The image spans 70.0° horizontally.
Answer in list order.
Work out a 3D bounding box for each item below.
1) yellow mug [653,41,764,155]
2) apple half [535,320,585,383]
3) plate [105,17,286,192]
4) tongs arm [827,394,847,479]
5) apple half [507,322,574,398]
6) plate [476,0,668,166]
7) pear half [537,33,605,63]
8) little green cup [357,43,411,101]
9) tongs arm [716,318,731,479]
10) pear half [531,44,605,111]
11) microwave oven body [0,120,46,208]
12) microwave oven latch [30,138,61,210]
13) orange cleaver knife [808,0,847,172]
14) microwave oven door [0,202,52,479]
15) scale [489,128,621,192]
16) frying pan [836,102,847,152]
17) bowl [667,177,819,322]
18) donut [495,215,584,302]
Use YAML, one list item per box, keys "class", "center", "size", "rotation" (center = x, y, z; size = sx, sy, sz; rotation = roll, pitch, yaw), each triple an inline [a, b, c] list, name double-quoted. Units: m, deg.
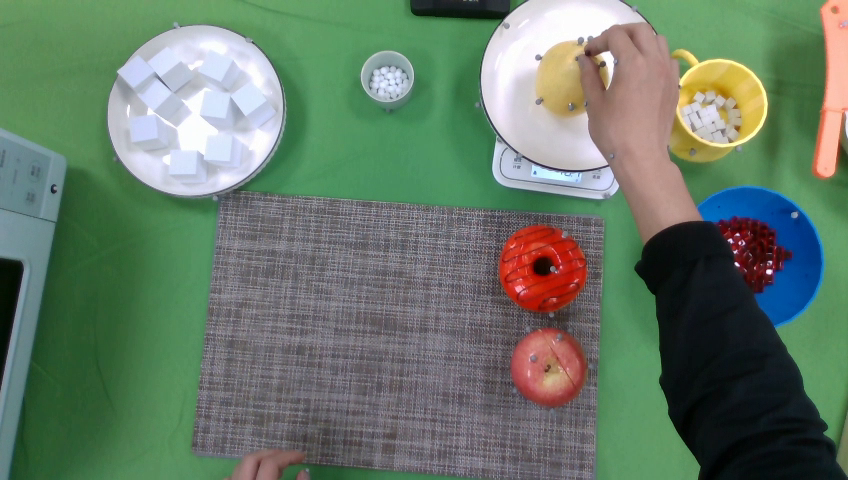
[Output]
- class: "yellow mug"
  center: [0.309, -0.166, 0.683]
  size: [0.100, 0.064, 0.130]
  rotation: [-28, 83, -1]
- class: "apple half"
  center: [0.151, 0.112, 0.650]
  size: [0.033, 0.081, 0.081]
  rotation: [-34, 83, 2]
- class: "plate"
  center: [-0.263, -0.156, 0.712]
  size: [0.207, 0.039, 0.207]
  rotation: [0, 84, 2]
- class: "tongs arm"
  center: [0.423, 0.289, 0.649]
  size: [0.028, 0.028, 0.387]
  rotation: [20, 86, -2]
- class: "apple half"
  center: [0.117, 0.134, 0.649]
  size: [0.053, 0.075, 0.080]
  rotation: [-31, 85, 1]
- class: "plate"
  center: [0.161, -0.182, 0.673]
  size: [0.209, 0.038, 0.208]
  rotation: [0, 84, 1]
- class: "pear half"
  center: [0.156, -0.202, 0.640]
  size: [0.070, 0.088, 0.031]
  rotation: [3, 85, 3]
- class: "little green cup"
  center: [-0.045, -0.194, 0.710]
  size: [0.061, 0.039, 0.061]
  rotation: [0, 83, 2]
- class: "tongs arm"
  center: [0.339, 0.274, 0.652]
  size: [0.051, 0.026, 0.384]
  rotation: [5, 85, 0]
- class: "pear half"
  center: [0.151, -0.168, 0.628]
  size: [0.076, 0.110, 0.056]
  rotation: [4, 84, 4]
- class: "microwave oven body"
  center: [-0.610, 0.070, 0.581]
  size: [0.326, 0.260, 0.440]
  rotation: [7, 85, 2]
- class: "microwave oven latch"
  center: [-0.438, -0.076, 0.689]
  size: [0.030, 0.029, 0.079]
  rotation: [9, 85, 2]
- class: "orange cleaver knife"
  center: [0.450, -0.173, 0.643]
  size: [0.077, 0.012, 0.211]
  rotation: [9, 85, 5]
- class: "microwave oven door"
  center: [-0.470, 0.129, 0.566]
  size: [0.039, 0.244, 0.355]
  rotation: [6, 84, 3]
- class: "scale"
  center: [0.161, -0.163, 0.704]
  size: [0.148, 0.031, 0.200]
  rotation: [8, 85, 3]
- class: "frying pan"
  center: [0.626, -0.078, 0.646]
  size: [0.307, 0.103, 0.485]
  rotation: [-23, 76, 0]
- class: "bowl"
  center: [0.330, 0.013, 0.658]
  size: [0.151, 0.077, 0.151]
  rotation: [0, 85, 2]
- class: "donut"
  center: [0.127, 0.021, 0.676]
  size: [0.099, 0.048, 0.099]
  rotation: [0, 84, 4]
